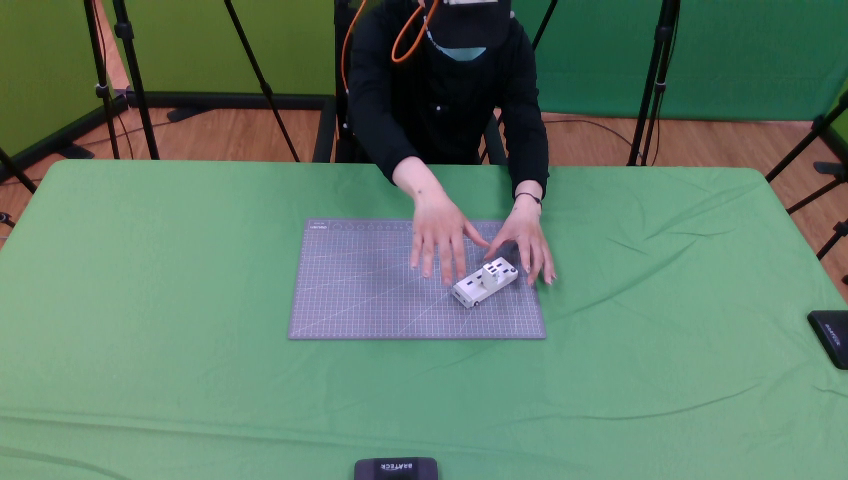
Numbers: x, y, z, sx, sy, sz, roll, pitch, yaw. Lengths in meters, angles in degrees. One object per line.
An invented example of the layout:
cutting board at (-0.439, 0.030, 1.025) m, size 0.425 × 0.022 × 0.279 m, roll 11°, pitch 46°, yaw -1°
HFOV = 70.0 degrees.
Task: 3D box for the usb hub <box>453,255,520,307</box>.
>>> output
usb hub at (0.116, 0.075, 1.121) m, size 0.125 × 0.025 × 0.049 m, roll -28°, pitch 57°, yaw -27°

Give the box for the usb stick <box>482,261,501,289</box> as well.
usb stick at (0.120, 0.067, 1.090) m, size 0.021 × 0.059 × 0.027 m, roll -30°, pitch 57°, yaw -28°
